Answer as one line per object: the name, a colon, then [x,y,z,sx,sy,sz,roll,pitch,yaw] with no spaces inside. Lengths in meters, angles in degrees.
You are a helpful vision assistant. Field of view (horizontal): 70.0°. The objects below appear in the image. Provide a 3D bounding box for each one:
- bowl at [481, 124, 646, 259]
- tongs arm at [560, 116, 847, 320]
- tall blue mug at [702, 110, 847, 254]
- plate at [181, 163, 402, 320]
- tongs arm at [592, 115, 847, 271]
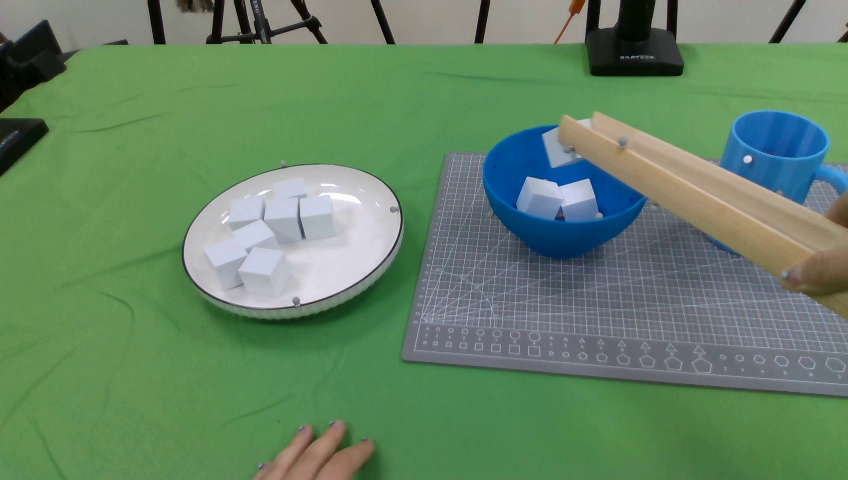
bowl: [0.128,-0.036,0.567,0.151,0.077,0.150,-3,42,3]
tongs arm: [0.216,-0.001,0.374,0.051,0.027,0.380,-6,33,-25]
tall blue mug: [0.314,-0.047,0.538,0.107,0.109,0.077,11,44,17]
plate: [-0.123,0.000,0.586,0.209,0.038,0.207,-2,43,2]
tongs arm: [0.237,-0.004,0.386,0.028,0.028,0.383,-5,32,-31]
